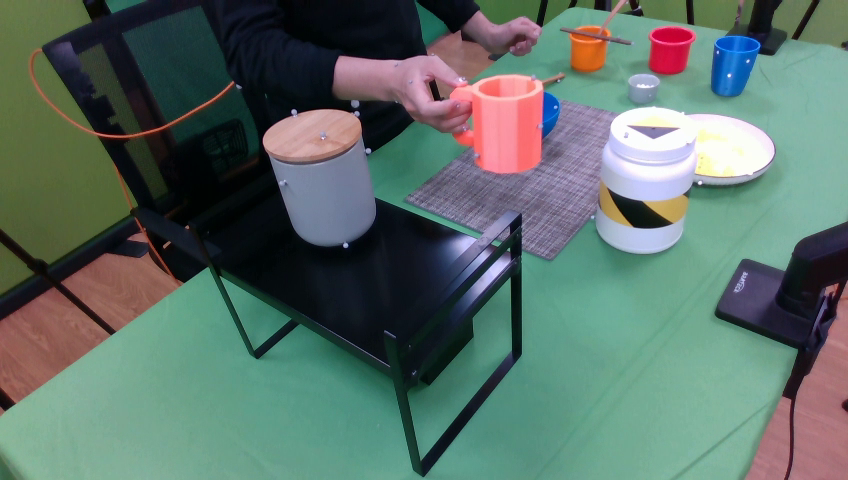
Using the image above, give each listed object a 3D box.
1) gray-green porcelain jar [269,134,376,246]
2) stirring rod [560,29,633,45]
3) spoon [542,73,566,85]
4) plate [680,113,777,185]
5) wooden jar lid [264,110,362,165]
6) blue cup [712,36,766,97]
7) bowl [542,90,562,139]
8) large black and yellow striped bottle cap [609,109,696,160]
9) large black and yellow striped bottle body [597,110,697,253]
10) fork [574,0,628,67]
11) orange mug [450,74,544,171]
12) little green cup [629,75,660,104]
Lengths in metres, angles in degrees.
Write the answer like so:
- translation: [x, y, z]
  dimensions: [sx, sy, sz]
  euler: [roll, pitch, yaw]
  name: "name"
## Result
- translation: [-0.115, -0.064, 0.715]
  dimensions: [0.106, 0.127, 0.105]
  euler: [-4, 40, 4]
  name: "gray-green porcelain jar"
- translation: [0.381, -0.452, 1.345]
  dimensions: [0.174, 0.006, 0.014]
  euler: [25, 49, 33]
  name: "stirring rod"
- translation: [0.249, -0.336, 1.332]
  dimensions: [0.194, 0.022, 0.041]
  euler: [-32, 33, -25]
  name: "spoon"
- translation: [0.506, -0.158, 1.073]
  dimensions: [0.209, 0.038, 0.208]
  euler: [-4, 40, 4]
  name: "plate"
- translation: [-0.122, -0.112, 0.673]
  dimensions: [0.108, 0.021, 0.108]
  euler: [-5, 37, 4]
  name: "wooden jar lid"
- translation: [0.627, -0.350, 1.227]
  dimensions: [0.092, 0.100, 0.092]
  euler: [-4, 39, 4]
  name: "blue cup"
- translation: [0.187, -0.223, 1.162]
  dimensions: [0.151, 0.077, 0.150]
  euler: [-4, 40, 4]
  name: "bowl"
- translation: [0.319, -0.150, 0.849]
  dimensions: [0.115, 0.019, 0.114]
  euler: [-4, 39, 3]
  name: "large black and yellow striped bottle cap"
- translation: [0.331, -0.087, 0.904]
  dimensions: [0.131, 0.185, 0.130]
  euler: [-5, 41, 4]
  name: "large black and yellow striped bottle body"
- translation: [0.413, -0.481, 1.377]
  dimensions: [0.207, 0.019, 0.028]
  euler: [-56, 43, 12]
  name: "fork"
- translation: [0.091, -0.155, 0.771]
  dimensions: [0.125, 0.101, 0.084]
  euler: [20, 41, 26]
  name: "orange mug"
- translation: [0.457, -0.314, 1.260]
  dimensions: [0.061, 0.039, 0.061]
  euler: [-4, 40, 4]
  name: "little green cup"
